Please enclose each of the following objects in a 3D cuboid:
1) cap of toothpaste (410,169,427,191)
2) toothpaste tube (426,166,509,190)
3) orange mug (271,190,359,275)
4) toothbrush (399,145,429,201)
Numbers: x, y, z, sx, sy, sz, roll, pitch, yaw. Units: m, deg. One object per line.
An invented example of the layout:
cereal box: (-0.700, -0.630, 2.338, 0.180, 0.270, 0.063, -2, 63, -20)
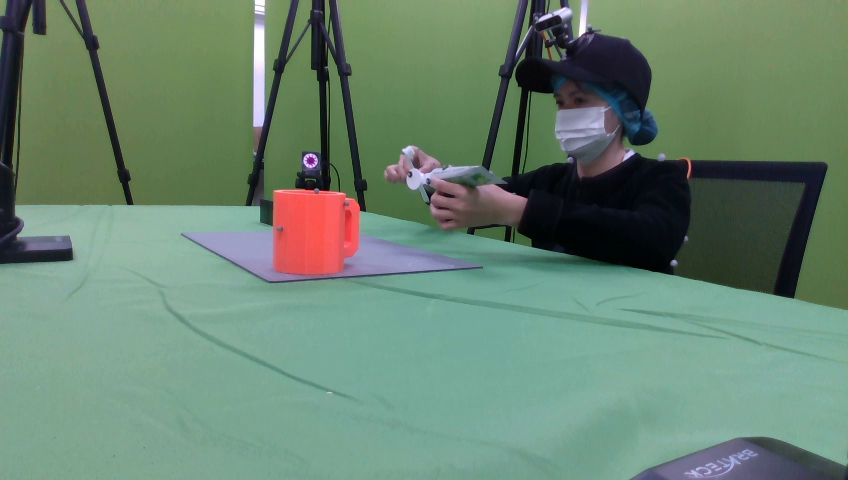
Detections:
cap of toothpaste: (-0.009, -0.098, 0.979, 0.011, 0.037, 0.037, -5, 11, -45)
toothpaste tube: (0.056, -0.096, 0.916, 0.055, 0.034, 0.164, 23, -11, -33)
orange mug: (-0.131, -0.013, 0.754, 0.083, 0.101, 0.127, 8, 13, 38)
toothbrush: (-0.014, -0.114, 1.064, 0.014, 0.016, 0.182, 42, -9, 25)
